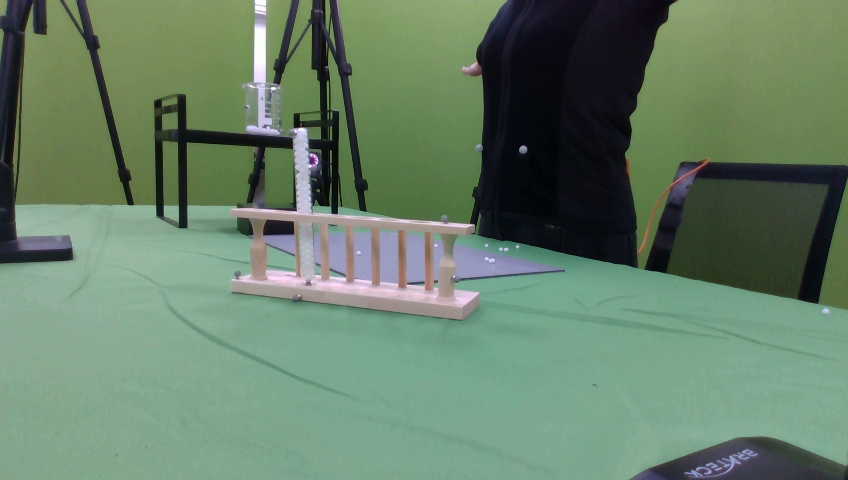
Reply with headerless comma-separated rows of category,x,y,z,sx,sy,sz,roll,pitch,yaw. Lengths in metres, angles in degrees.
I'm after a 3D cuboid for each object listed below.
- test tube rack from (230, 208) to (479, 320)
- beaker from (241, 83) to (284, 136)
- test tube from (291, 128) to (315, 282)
test tube rack,-0.069,0.017,0.598,0.242,0.085,0.067,5,8,18
beaker,-0.323,-0.260,1.208,0.084,0.100,0.073,-4,9,-37
test tube,-0.118,-0.033,0.590,0.017,0.150,0.017,-2,8,1
